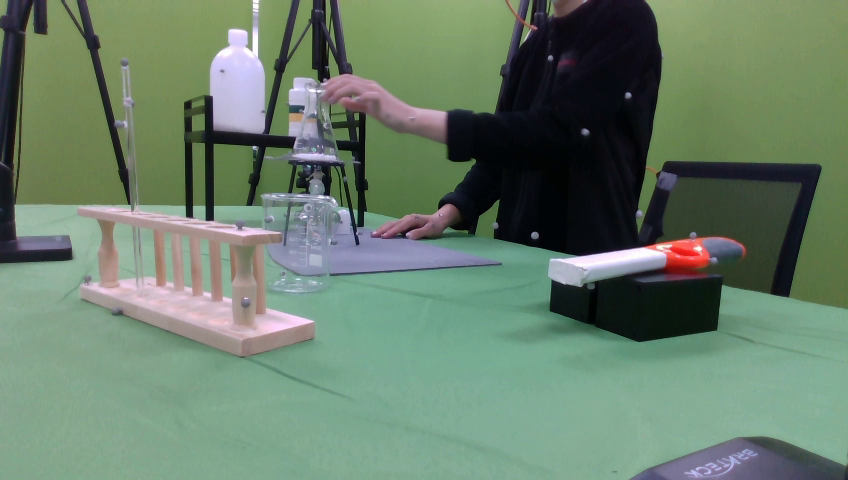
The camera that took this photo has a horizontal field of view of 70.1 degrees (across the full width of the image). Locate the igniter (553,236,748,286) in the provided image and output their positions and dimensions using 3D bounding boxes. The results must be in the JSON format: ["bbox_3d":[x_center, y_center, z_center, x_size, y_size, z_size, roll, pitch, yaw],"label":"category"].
[{"bbox_3d":[0.221,0.017,0.559,0.278,0.025,0.057,-5,15,-39],"label":"igniter"}]

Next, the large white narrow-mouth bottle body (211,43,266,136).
[{"bbox_3d":[-0.361,-0.302,1.176,0.102,0.194,0.102,1,8,0],"label":"large white narrow-mouth bottle body"}]

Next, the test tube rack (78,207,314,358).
[{"bbox_3d":[-0.197,0.024,0.499,0.241,0.085,0.067,8,8,37],"label":"test tube rack"}]

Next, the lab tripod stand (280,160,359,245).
[{"bbox_3d":[-0.176,-0.062,0.973,0.148,0.131,0.148,1,7,0],"label":"lab tripod stand"}]

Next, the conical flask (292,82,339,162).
[{"bbox_3d":[-0.171,-0.185,0.956,0.075,0.122,0.075,2,7,0],"label":"conical flask"}]

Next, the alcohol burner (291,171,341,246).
[{"bbox_3d":[-0.172,-0.050,0.962,0.078,0.119,0.078,1,5,0],"label":"alcohol burner"}]

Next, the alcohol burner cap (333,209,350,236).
[{"bbox_3d":[-0.151,-0.033,1.115,0.034,0.048,0.034,3,6,0],"label":"alcohol burner cap"}]

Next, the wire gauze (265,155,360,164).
[{"bbox_3d":[-0.181,-0.128,0.969,0.126,0.011,0.121,-3,7,-26],"label":"wire gauze"}]

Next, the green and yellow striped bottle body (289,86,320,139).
[{"bbox_3d":[-0.250,-0.272,1.261,0.063,0.119,0.063,3,7,0],"label":"green and yellow striped bottle body"}]

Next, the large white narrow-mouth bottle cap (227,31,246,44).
[{"bbox_3d":[-0.361,-0.389,1.165,0.038,0.024,0.037,1,7,0],"label":"large white narrow-mouth bottle cap"}]

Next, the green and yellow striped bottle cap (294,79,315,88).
[{"bbox_3d":[-0.248,-0.323,1.256,0.045,0.020,0.045,3,9,0],"label":"green and yellow striped bottle cap"}]

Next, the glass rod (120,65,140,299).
[{"bbox_3d":[-0.249,-0.047,0.513,0.008,0.199,0.008,-1,4,0],"label":"glass rod"}]

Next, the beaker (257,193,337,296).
[{"bbox_3d":[-0.130,0.004,0.628,0.084,0.100,0.074,5,8,15],"label":"beaker"}]
